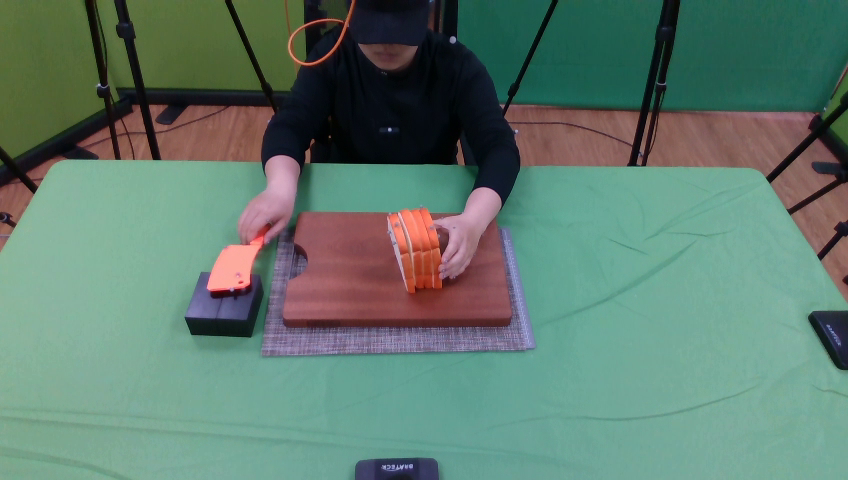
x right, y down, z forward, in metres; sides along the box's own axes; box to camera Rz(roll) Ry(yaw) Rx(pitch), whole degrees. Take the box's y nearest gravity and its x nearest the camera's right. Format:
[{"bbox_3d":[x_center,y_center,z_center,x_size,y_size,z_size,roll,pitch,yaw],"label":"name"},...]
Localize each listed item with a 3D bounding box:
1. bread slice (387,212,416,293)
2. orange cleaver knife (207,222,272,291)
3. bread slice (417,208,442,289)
[{"bbox_3d":[-0.041,0.016,1.067,0.019,0.132,0.104,-17,46,-6],"label":"bread slice"},{"bbox_3d":[-0.332,0.026,1.104,0.077,0.012,0.210,3,34,2],"label":"orange cleaver knife"},{"bbox_3d":[0.009,0.011,1.075,0.018,0.135,0.106,-13,51,-9],"label":"bread slice"}]
